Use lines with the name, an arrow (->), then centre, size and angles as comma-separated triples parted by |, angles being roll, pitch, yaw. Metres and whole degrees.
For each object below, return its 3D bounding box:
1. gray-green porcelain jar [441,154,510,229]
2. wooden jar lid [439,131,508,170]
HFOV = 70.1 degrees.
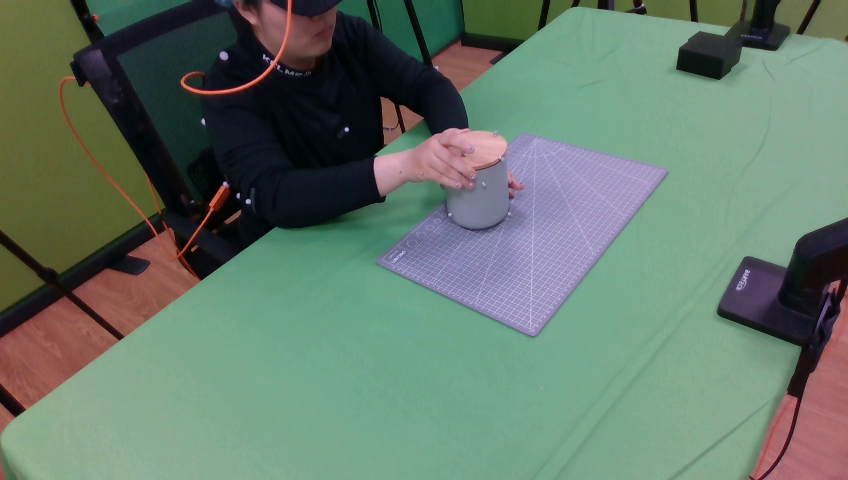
gray-green porcelain jar -> 0.086, -0.090, 0.988 | 0.106, 0.127, 0.105 | -5, 40, 5
wooden jar lid -> 0.078, -0.136, 0.948 | 0.108, 0.021, 0.108 | -5, 39, 5
